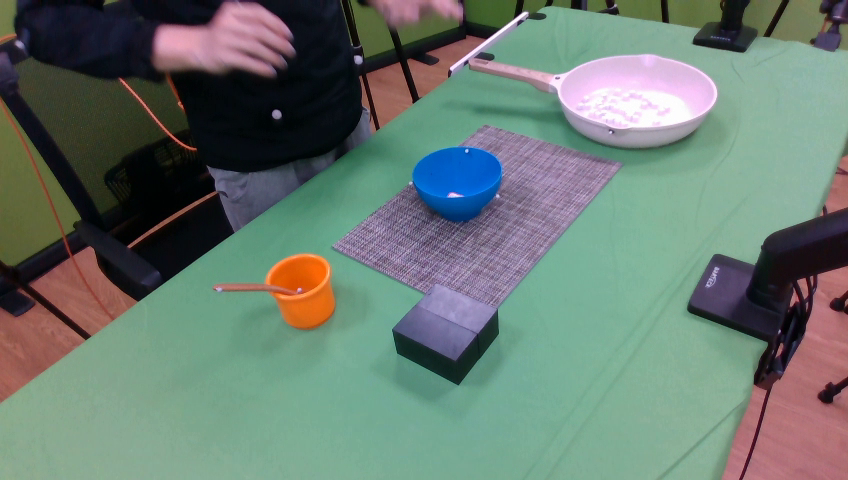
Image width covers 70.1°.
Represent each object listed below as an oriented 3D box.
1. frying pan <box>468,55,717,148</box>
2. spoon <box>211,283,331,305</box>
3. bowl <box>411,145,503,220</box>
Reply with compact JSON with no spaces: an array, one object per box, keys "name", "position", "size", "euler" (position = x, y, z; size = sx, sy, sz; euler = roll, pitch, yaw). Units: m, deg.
[{"name":"frying pan","position":[0.316,-0.304,1.213],"size":[0.485,0.103,0.307],"euler":[20,46,17]},{"name":"spoon","position":[-0.201,0.069,0.819],"size":[0.041,0.195,0.021],"euler":[32,99,37]},{"name":"bowl","position":[0.058,-0.086,1.010],"size":[0.151,0.077,0.150],"euler":[-4,41,4]}]
